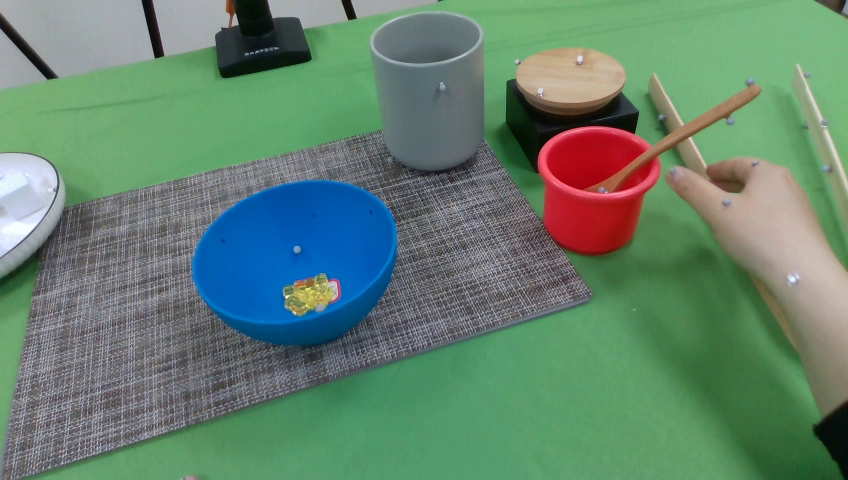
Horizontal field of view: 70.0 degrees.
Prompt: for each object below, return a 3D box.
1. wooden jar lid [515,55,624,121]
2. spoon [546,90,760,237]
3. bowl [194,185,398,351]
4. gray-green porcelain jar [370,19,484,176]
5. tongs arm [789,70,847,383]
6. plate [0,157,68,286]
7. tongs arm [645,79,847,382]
[{"bbox_3d":[0.147,-0.154,0.617,0.108,0.021,0.107,-3,44,4],"label":"wooden jar lid"},{"bbox_3d":[0.182,-0.059,0.499,0.194,0.022,0.041,-39,34,31],"label":"spoon"},{"bbox_3d":[-0.091,0.034,0.473,0.151,0.077,0.150,-3,44,3],"label":"bowl"},{"bbox_3d":[0.007,-0.136,0.601,0.106,0.128,0.105,-3,45,3],"label":"gray-green porcelain jar"},{"bbox_3d":[0.351,-0.042,0.543,0.050,0.027,0.381,4,46,11],"label":"tongs arm"},{"bbox_3d":[-0.444,-0.002,0.577,0.209,0.038,0.207,-3,45,4],"label":"plate"},{"bbox_3d":[0.270,-0.040,0.555,0.028,0.028,0.383,-4,45,-1],"label":"tongs arm"}]
